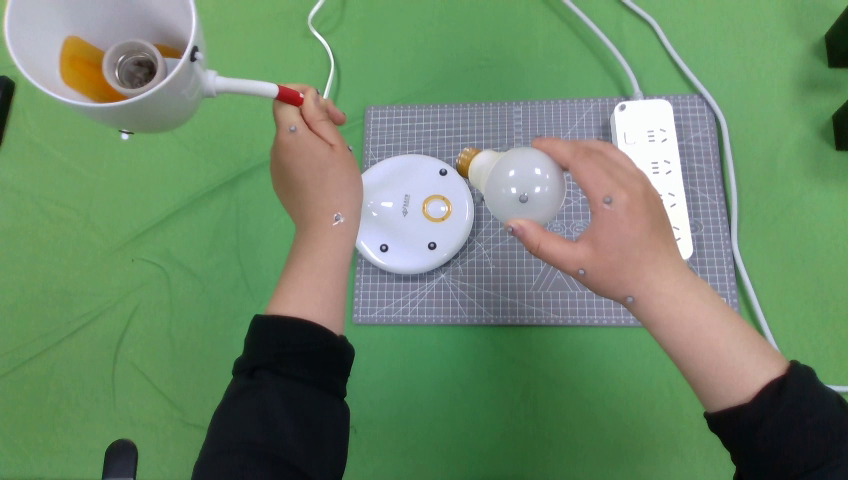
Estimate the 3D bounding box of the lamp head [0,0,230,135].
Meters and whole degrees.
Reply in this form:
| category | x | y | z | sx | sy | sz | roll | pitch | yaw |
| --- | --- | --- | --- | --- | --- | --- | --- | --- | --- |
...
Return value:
| category | x | y | z | sx | sy | sz | roll | pitch | yaw |
| --- | --- | --- | --- | --- | --- | --- | --- | --- | --- |
| lamp head | -0.198 | -0.123 | 0.420 | 0.112 | 0.123 | 0.112 | 0 | 80 | -1 |

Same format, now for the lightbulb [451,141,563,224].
| category | x | y | z | sx | sy | sz | roll | pitch | yaw |
| --- | --- | --- | --- | --- | --- | --- | --- | --- | --- |
| lightbulb | 0.057 | -0.050 | 0.458 | 0.059 | 0.060 | 0.106 | -46 | 43 | -9 |

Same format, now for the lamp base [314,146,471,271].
| category | x | y | z | sx | sy | sz | roll | pitch | yaw |
| --- | --- | --- | --- | --- | --- | --- | --- | --- | --- |
| lamp base | -0.043 | -0.060 | 0.684 | 0.179 | 0.181 | 0.159 | -7 | 72 | 7 |

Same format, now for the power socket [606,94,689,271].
| category | x | y | z | sx | sy | sz | roll | pitch | yaw |
| --- | --- | --- | --- | --- | --- | --- | --- | --- | --- |
| power socket | 0.268 | -0.076 | 0.733 | 0.072 | 0.033 | 0.225 | -2 | 72 | 5 |
